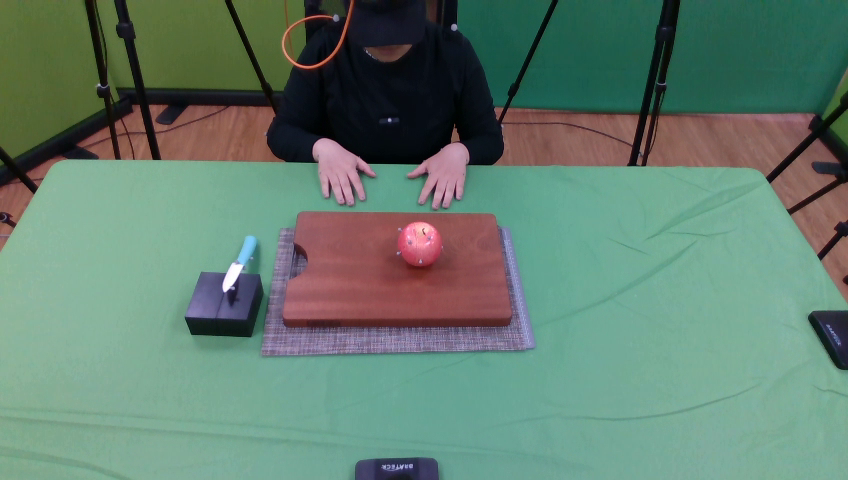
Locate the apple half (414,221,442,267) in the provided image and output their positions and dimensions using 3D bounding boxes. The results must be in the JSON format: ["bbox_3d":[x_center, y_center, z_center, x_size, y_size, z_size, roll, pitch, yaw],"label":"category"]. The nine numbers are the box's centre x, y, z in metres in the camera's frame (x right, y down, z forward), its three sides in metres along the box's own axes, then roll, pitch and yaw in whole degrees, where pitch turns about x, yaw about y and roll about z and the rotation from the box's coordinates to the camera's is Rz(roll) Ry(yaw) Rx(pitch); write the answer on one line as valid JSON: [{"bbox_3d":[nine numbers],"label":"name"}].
[{"bbox_3d":[0.006,0.009,1.115,0.053,0.075,0.080,0,42,-9],"label":"apple half"}]

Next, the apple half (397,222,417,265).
[{"bbox_3d":[-0.033,0.010,1.110,0.033,0.081,0.081,0,46,-10],"label":"apple half"}]

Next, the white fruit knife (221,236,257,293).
[{"bbox_3d":[-0.333,0.043,1.094,0.027,0.016,0.206,2,27,-2],"label":"white fruit knife"}]
